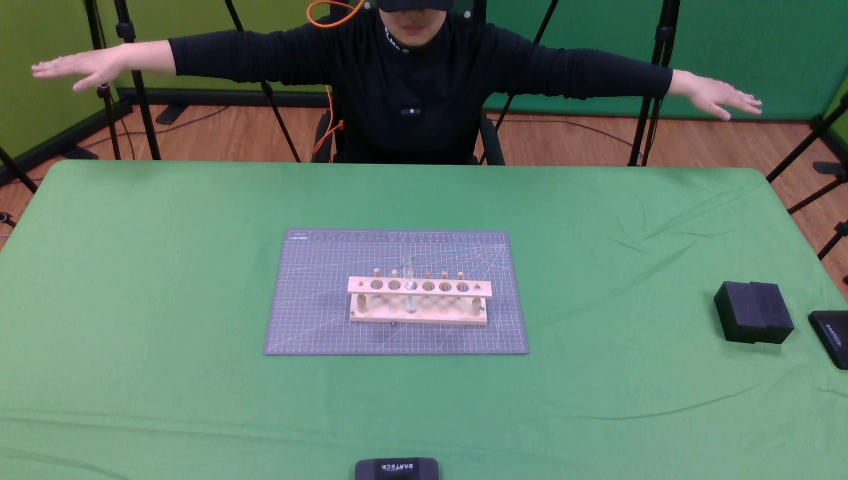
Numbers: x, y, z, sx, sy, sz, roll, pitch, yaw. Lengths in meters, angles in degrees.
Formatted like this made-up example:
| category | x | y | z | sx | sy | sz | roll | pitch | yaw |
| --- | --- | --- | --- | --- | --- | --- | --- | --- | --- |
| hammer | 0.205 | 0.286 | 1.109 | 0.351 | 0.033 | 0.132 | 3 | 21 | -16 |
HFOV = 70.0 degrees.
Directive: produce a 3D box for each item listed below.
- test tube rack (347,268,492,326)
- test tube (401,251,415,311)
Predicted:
| category | x | y | z | sx | sy | sz | roll | pitch | yaw |
| --- | --- | --- | --- | --- | --- | --- | --- | --- | --- |
| test tube rack | -0.009 | 0.095 | 1.059 | 0.242 | 0.085 | 0.066 | 2 | 46 | -2 |
| test tube | -0.026 | 0.072 | 1.011 | 0.017 | 0.151 | 0.017 | -1 | 48 | 2 |
